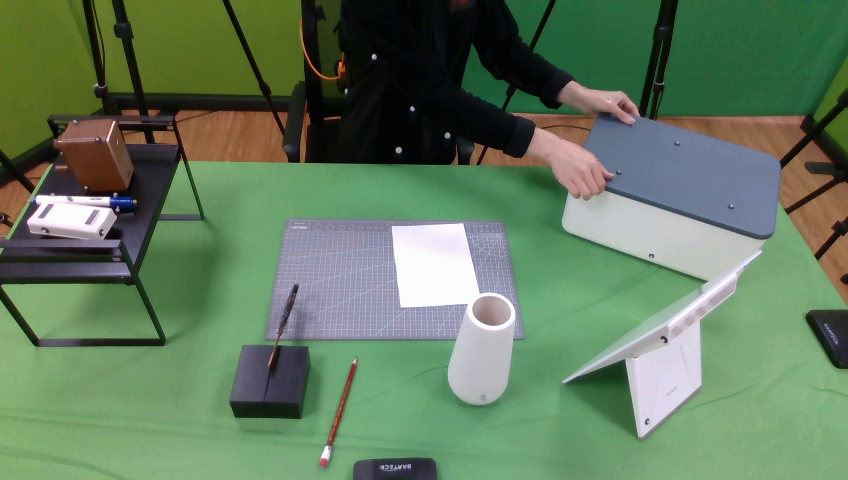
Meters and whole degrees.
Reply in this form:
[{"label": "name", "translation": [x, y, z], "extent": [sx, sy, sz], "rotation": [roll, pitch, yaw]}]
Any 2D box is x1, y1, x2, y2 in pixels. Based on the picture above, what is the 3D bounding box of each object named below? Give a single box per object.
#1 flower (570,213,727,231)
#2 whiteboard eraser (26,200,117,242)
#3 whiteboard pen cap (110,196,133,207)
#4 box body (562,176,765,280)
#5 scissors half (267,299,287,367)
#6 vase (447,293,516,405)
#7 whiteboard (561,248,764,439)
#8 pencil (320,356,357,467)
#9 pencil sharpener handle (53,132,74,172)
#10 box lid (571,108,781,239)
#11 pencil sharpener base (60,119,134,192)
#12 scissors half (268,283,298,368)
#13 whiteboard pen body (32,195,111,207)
[{"label": "flower", "translation": [0.479, -0.039, 1.270], "extent": [0.362, 0.038, 0.044], "rotation": [-1, 15, -13]}, {"label": "whiteboard eraser", "translation": [-0.532, -0.026, 0.919], "extent": [0.113, 0.042, 0.055], "rotation": [7, 45, 3]}, {"label": "whiteboard pen cap", "translation": [-0.486, -0.061, 0.972], "extent": [0.033, 0.018, 0.018], "rotation": [0, 46, -9]}, {"label": "box body", "translation": [0.486, -0.089, 1.222], "extent": [0.363, 0.161, 0.253], "rotation": [20, 48, 15]}, {"label": "scissors half", "translation": [-0.239, 0.150, 0.997], "extent": [0.013, 0.040, 0.174], "rotation": [23, 24, -13]}, {"label": "vase", "translation": [0.091, 0.169, 0.921], "extent": [0.098, 0.201, 0.097], "rotation": [3, 47, -3]}, {"label": "whiteboard", "translation": [0.386, 0.176, 0.905], "extent": [0.217, 0.306, 0.143], "rotation": [-26, 72, -26]}, {"label": "pencil", "translation": [-0.130, 0.261, 0.946], "extent": [0.012, 0.012, 0.193], "rotation": [10, 45, 5]}, {"label": "pencil sharpener handle", "translation": [-0.578, -0.138, 0.961], "extent": [0.031, 0.068, 0.036], "rotation": [-4, 34, -7]}, {"label": "box lid", "translation": [0.491, -0.139, 1.169], "extent": [0.370, 0.015, 0.262], "rotation": [20, 48, 15]}, {"label": "pencil sharpener base", "translation": [-0.528, -0.135, 0.979], "extent": [0.077, 0.107, 0.061], "rotation": [-4, 47, -7]}, {"label": "scissors half", "translation": [-0.230, 0.135, 0.986], "extent": [0.013, 0.040, 0.174], "rotation": [19, 43, -11]}, {"label": "whiteboard pen body", "translation": [-0.543, -0.061, 0.961], "extent": [0.141, 0.017, 0.017], "rotation": [1, 46, -10]}]
